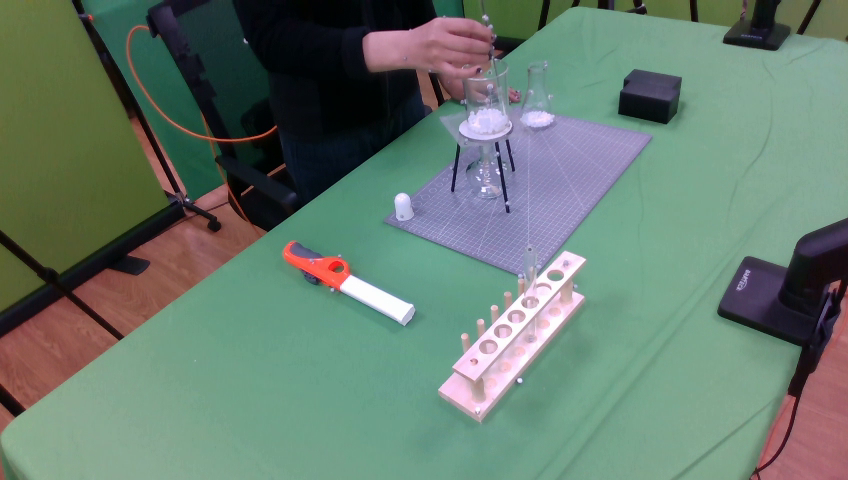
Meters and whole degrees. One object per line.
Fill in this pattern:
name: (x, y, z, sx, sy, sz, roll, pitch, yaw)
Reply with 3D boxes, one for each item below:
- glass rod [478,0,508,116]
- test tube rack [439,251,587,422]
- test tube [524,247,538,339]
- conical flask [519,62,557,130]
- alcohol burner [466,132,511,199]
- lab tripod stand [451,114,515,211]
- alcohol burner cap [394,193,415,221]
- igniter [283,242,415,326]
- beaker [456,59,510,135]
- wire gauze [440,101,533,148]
glass rod: (0.105, -0.267, 0.904, 0.008, 0.201, 0.008, -12, 44, 12)
test tube rack: (0.118, 0.111, 0.780, 0.066, 0.085, 0.243, 26, 51, 35)
test tube: (0.133, 0.070, 0.749, 0.017, 0.151, 0.017, -5, 38, 4)
conical flask: (0.225, -0.287, 1.199, 0.075, 0.122, 0.075, -6, 40, 5)
alcohol burner: (0.110, -0.132, 1.044, 0.078, 0.119, 0.077, -5, 38, 5)
lab tripod stand: (0.113, -0.140, 1.037, 0.148, 0.132, 0.147, -6, 38, 5)
alcohol burner cap: (-0.036, -0.059, 1.040, 0.034, 0.048, 0.033, -5, 41, 5)
igniter: (-0.126, 0.062, 0.931, 0.274, 0.025, 0.057, 24, 61, 33)
beaker: (0.098, -0.226, 0.964, 0.084, 0.101, 0.073, -7, 39, 4)
wire gauze: (0.100, -0.189, 0.995, 0.125, 0.011, 0.120, -16, 38, -6)
